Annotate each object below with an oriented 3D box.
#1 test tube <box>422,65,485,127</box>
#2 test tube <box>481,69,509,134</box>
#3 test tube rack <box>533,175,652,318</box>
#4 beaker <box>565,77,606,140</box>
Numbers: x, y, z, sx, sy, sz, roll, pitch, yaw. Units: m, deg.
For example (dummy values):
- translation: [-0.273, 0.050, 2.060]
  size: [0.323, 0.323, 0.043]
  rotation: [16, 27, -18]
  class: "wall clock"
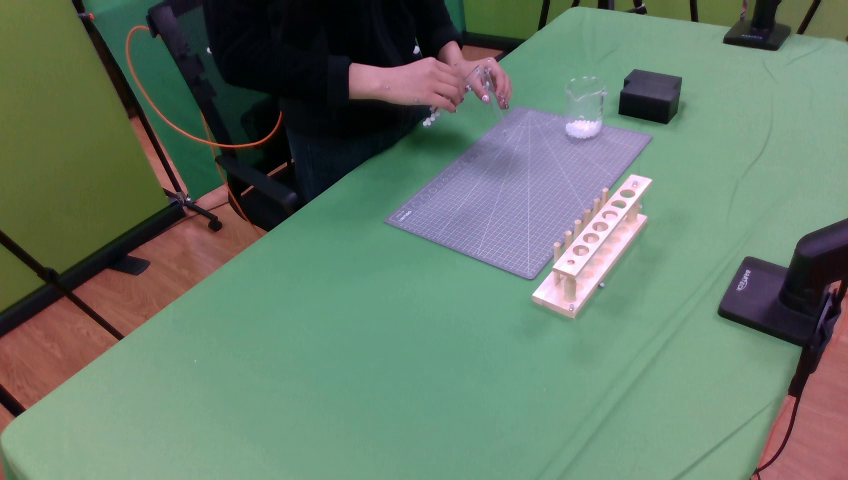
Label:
- translation: [0.050, -0.245, 1.030]
  size: [0.150, 0.017, 0.017]
  rotation: [-46, 50, -11]
  class: "test tube"
- translation: [0.131, -0.250, 1.108]
  size: [0.017, 0.151, 0.017]
  rotation: [-12, 51, 16]
  class: "test tube"
- translation: [0.251, -0.001, 0.889]
  size: [0.066, 0.085, 0.243]
  rotation: [22, 49, 33]
  class: "test tube rack"
- translation: [0.305, -0.247, 1.153]
  size: [0.073, 0.101, 0.084]
  rotation: [15, 47, 27]
  class: "beaker"
